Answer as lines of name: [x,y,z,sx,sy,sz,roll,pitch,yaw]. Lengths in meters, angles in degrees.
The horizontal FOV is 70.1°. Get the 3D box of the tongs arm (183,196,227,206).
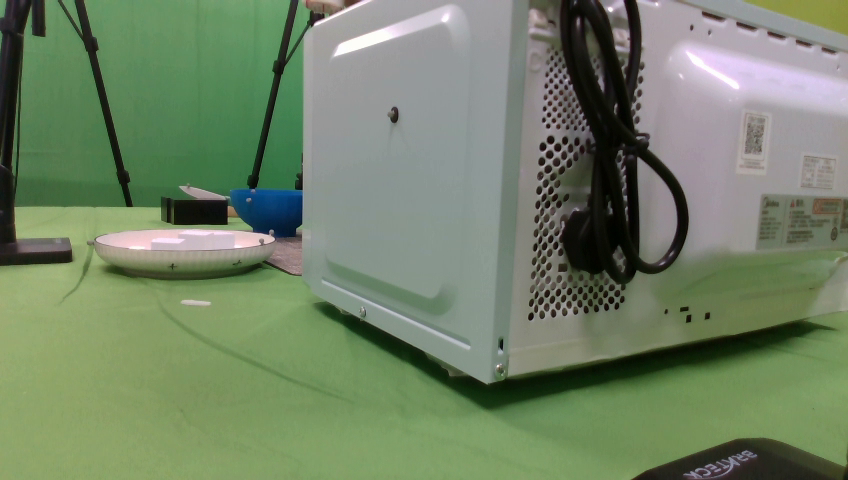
tongs arm: [-0.404,-0.081,1.479,0.385,0.026,0.050,3,8,-2]

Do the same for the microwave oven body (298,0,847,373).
microwave oven body: [0.151,-0.055,0.542,0.444,0.260,0.324,-2,7,-33]

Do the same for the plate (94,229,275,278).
plate: [-0.291,0.016,0.750,0.208,0.039,0.207,2,7,0]

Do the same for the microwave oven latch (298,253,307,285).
microwave oven latch: [-0.081,0.027,0.582,0.079,0.029,0.030,-2,8,-33]

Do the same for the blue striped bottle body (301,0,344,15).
blue striped bottle body: [-0.146,-0.405,0.902,0.063,0.120,0.063,7,5,0]

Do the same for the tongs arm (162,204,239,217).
tongs arm: [-0.396,-0.066,1.399,0.389,0.028,0.028,1,5,-15]

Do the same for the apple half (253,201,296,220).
apple half: [-0.264,-0.053,1.067,0.081,0.033,0.081,1,8,0]

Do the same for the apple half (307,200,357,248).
apple half: [-0.135,-0.024,0.942,0.053,0.074,0.081,13,8,38]

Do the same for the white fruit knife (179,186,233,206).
white fruit knife: [-0.413,-0.081,1.270,0.208,0.027,0.016,17,13,-41]

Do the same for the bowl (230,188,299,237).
bowl: [-0.264,-0.048,1.066,0.151,0.077,0.151,3,8,0]

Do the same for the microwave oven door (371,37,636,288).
microwave oven door: [0.109,-0.080,0.686,0.358,0.243,0.039,-2,9,-33]
